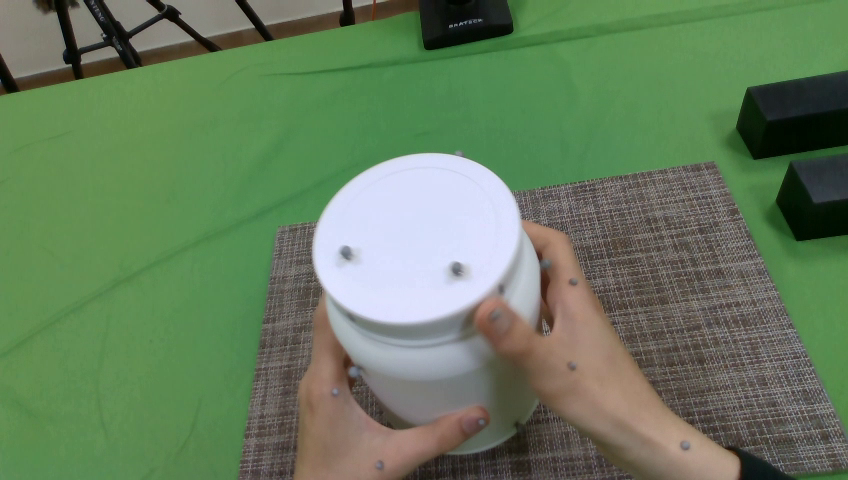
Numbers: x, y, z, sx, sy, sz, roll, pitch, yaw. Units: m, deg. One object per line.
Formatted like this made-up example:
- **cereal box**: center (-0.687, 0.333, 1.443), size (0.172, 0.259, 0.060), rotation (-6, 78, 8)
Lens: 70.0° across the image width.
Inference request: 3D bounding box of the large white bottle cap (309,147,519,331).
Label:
- **large white bottle cap**: center (-0.006, -0.004, 0.330), size (0.114, 0.018, 0.113), rotation (-6, 54, 8)

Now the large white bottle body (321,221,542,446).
- **large white bottle body**: center (0.010, 0.046, 0.400), size (0.130, 0.186, 0.129), rotation (-6, 54, 8)
